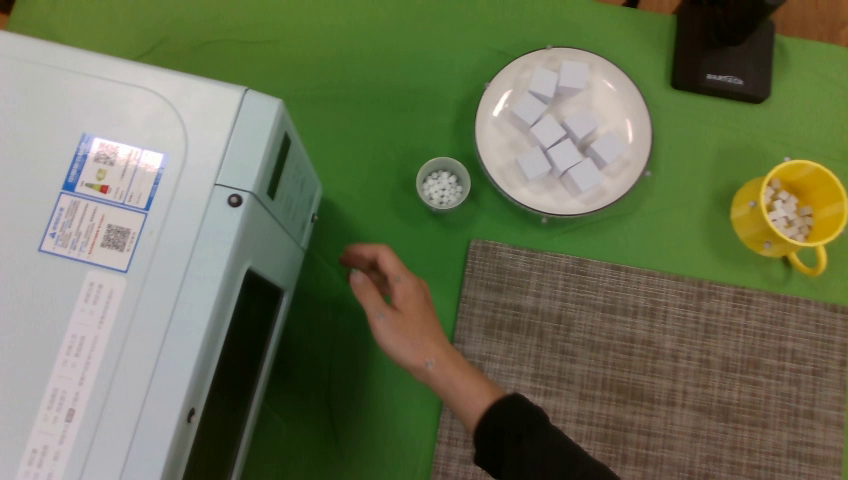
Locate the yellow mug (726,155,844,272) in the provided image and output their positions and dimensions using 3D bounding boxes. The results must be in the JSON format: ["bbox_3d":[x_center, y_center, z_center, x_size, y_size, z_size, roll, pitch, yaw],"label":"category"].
[{"bbox_3d":[0.416,-0.026,0.692,0.100,0.064,0.130,-18,81,-6],"label":"yellow mug"}]

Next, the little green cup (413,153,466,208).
[{"bbox_3d":[0.017,-0.066,0.696,0.061,0.039,0.061,0,82,-1],"label":"little green cup"}]

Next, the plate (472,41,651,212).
[{"bbox_3d":[0.159,-0.131,0.715,0.208,0.039,0.207,0,80,-2],"label":"plate"}]

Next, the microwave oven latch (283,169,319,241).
[{"bbox_3d":[-0.138,-0.041,0.668,0.030,0.029,0.079,16,80,0],"label":"microwave oven latch"}]

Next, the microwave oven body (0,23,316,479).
[{"bbox_3d":[-0.320,0.076,0.541,0.326,0.261,0.440,13,80,0],"label":"microwave oven body"}]

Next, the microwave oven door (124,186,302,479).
[{"bbox_3d":[-0.188,0.149,0.528,0.039,0.244,0.354,13,79,1],"label":"microwave oven door"}]
